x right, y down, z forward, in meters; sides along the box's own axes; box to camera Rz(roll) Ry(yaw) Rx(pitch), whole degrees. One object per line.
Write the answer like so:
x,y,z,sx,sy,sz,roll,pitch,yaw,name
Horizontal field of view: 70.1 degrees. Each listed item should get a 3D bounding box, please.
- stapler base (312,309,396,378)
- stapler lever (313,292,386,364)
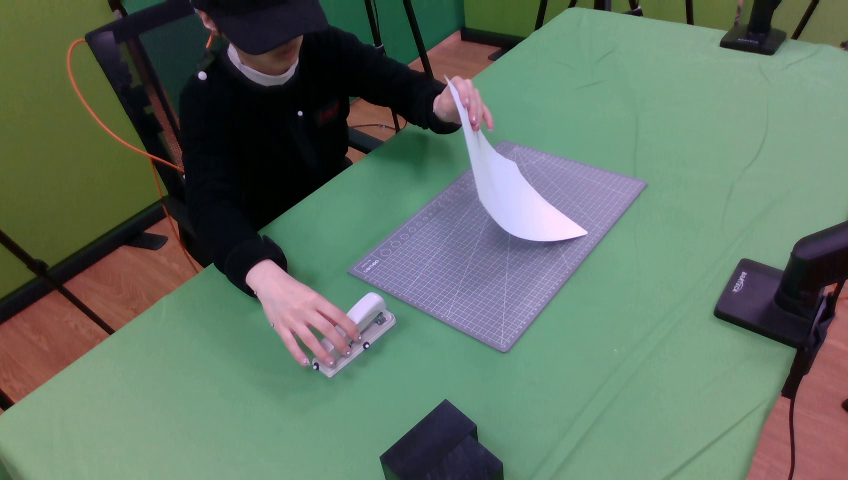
-0.096,0.133,0.831,0.041,0.024,0.131,25,52,37,stapler base
-0.100,0.115,0.815,0.026,0.040,0.118,25,51,37,stapler lever
